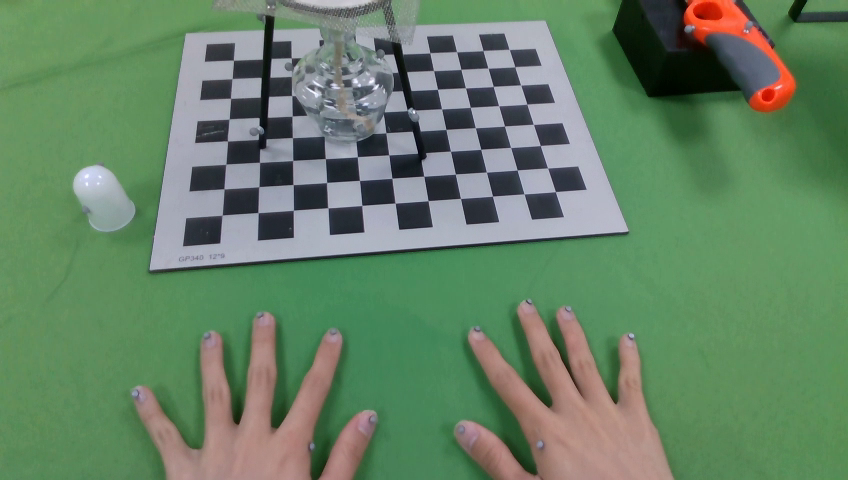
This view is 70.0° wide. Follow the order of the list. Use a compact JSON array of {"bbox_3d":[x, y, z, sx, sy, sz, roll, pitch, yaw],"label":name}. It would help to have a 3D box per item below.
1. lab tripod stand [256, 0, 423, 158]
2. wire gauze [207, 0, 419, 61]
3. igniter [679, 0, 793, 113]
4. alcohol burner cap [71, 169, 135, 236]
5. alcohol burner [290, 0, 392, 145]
[{"bbox_3d":[-0.060,-0.135,0.447,0.148,0.132,0.147,3,53,-4],"label":"lab tripod stand"},{"bbox_3d":[-0.060,-0.171,0.393,0.125,0.011,0.120,12,56,0],"label":"wire gauze"},{"bbox_3d":[0.244,-0.206,0.530,0.057,0.025,0.273,-7,53,-5],"label":"igniter"},{"bbox_3d":[-0.226,-0.029,0.422,0.034,0.048,0.033,2,54,-3],"label":"alcohol burner cap"},{"bbox_3d":[-0.064,-0.130,0.456,0.078,0.120,0.077,1,55,0],"label":"alcohol burner"}]
